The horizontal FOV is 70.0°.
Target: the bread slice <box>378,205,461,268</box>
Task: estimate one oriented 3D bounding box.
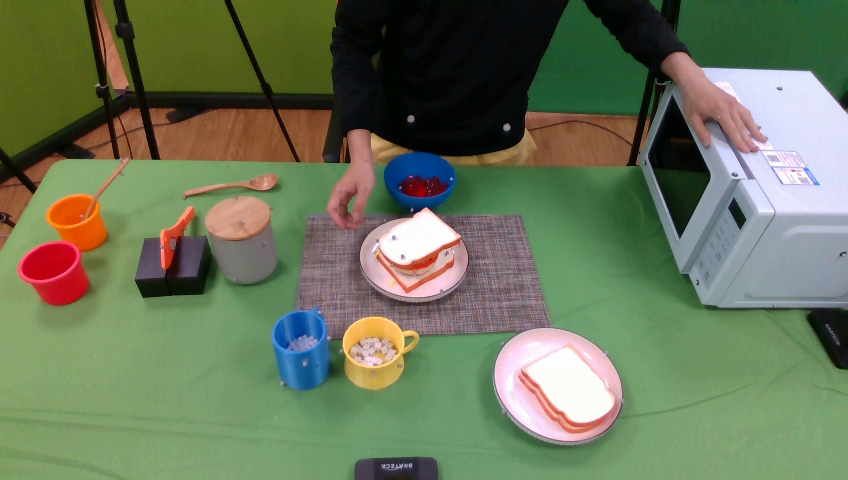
[{"bbox_3d":[-0.013,-0.002,1.097,0.134,0.018,0.106,-34,50,-22],"label":"bread slice"}]

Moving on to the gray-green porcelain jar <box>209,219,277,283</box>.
[{"bbox_3d":[-0.323,0.007,1.092,0.106,0.127,0.105,2,46,-2],"label":"gray-green porcelain jar"}]

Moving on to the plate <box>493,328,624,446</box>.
[{"bbox_3d":[0.213,0.236,0.974,0.208,0.039,0.206,2,46,-2],"label":"plate"}]

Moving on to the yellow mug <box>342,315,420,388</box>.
[{"bbox_3d":[-0.068,0.177,0.990,0.131,0.064,0.099,-16,50,-19],"label":"yellow mug"}]

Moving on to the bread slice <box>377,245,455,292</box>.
[{"bbox_3d":[-0.009,0.033,1.148,0.131,0.019,0.104,-28,55,-25],"label":"bread slice"}]

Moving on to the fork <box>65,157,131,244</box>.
[{"bbox_3d":[-0.609,-0.074,1.133,0.207,0.019,0.028,-52,50,10],"label":"fork"}]

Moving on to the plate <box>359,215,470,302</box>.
[{"bbox_3d":[-0.018,0.038,1.140,0.209,0.038,0.208,2,46,-2],"label":"plate"}]

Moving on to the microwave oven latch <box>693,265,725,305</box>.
[{"bbox_3d":[0.523,0.082,1.116,0.030,0.029,0.078,2,46,-1],"label":"microwave oven latch"}]

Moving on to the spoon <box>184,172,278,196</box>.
[{"bbox_3d":[-0.405,-0.116,1.275,0.194,0.022,0.041,-8,65,-12],"label":"spoon"}]

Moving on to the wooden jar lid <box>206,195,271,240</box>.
[{"bbox_3d":[-0.319,-0.036,1.046,0.108,0.021,0.107,1,44,0],"label":"wooden jar lid"}]

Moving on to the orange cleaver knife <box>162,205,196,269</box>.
[{"bbox_3d":[-0.454,-0.010,1.129,0.012,0.077,0.210,-2,20,-5],"label":"orange cleaver knife"}]

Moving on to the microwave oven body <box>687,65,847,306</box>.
[{"bbox_3d":[0.669,-0.111,1.176,0.326,0.261,0.439,0,46,-3],"label":"microwave oven body"}]

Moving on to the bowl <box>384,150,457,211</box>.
[{"bbox_3d":[-0.009,-0.112,1.262,0.151,0.077,0.150,2,46,-2],"label":"bowl"}]

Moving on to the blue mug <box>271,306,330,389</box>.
[{"bbox_3d":[-0.188,0.163,0.969,0.082,0.106,0.116,15,47,10],"label":"blue mug"}]

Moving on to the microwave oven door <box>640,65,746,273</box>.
[{"bbox_3d":[0.515,-0.147,1.193,0.039,0.245,0.353,2,46,-1],"label":"microwave oven door"}]
